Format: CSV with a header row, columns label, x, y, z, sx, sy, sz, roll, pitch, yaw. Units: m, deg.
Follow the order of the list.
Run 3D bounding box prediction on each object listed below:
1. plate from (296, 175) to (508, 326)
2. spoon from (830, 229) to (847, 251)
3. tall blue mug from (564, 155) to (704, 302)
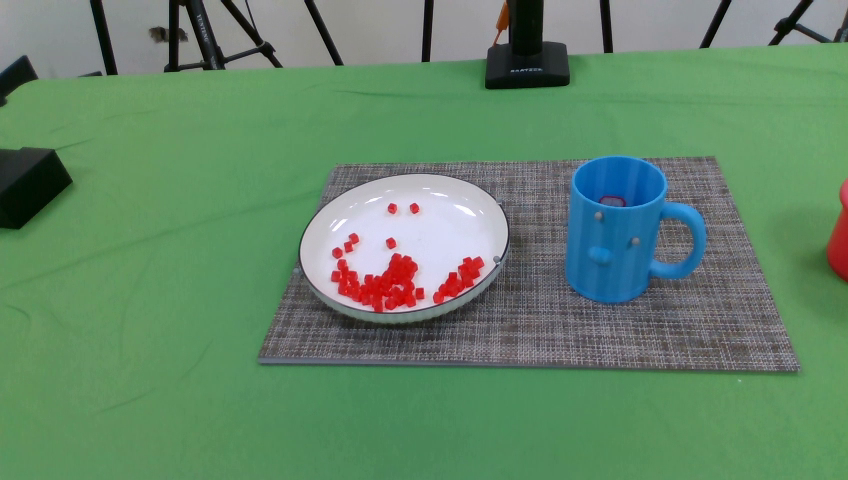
label,x,y,z,sx,sy,sz,roll,pitch,yaw
plate,-0.020,0.010,0.599,0.207,0.039,0.205,-4,41,4
spoon,0.431,-0.020,0.486,0.041,0.193,0.021,-34,93,-33
tall blue mug,0.181,-0.010,0.535,0.107,0.109,0.077,-5,40,4
